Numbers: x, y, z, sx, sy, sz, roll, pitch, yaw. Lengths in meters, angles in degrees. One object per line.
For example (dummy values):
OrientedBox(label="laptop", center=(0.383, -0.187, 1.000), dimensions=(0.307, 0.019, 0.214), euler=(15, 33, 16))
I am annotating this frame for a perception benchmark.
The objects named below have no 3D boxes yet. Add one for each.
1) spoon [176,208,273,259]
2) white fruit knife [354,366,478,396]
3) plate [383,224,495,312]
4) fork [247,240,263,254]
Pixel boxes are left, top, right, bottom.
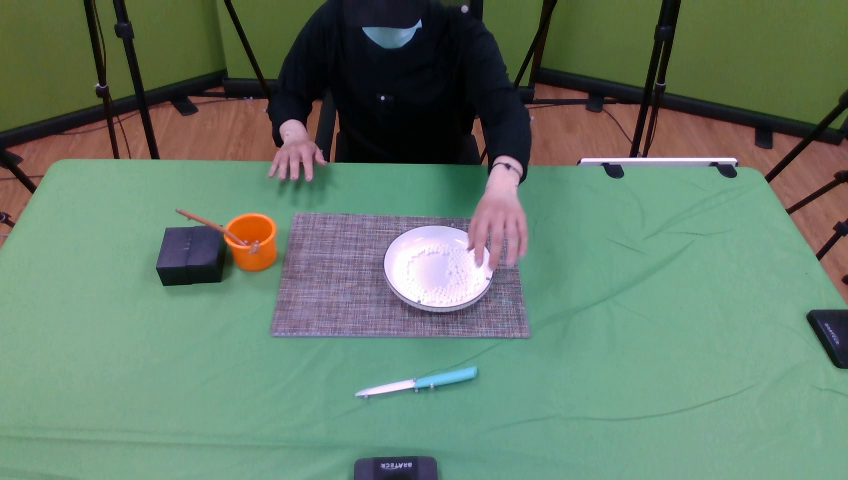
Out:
OrientedBox(label="spoon", center=(-0.355, -0.011, 1.088), dimensions=(0.041, 0.195, 0.021), euler=(22, 77, 54))
OrientedBox(label="white fruit knife", center=(-0.010, 0.231, 0.978), dimensions=(0.208, 0.016, 0.027), euler=(-9, 19, -10))
OrientedBox(label="plate", center=(0.026, 0.055, 1.128), dimensions=(0.209, 0.038, 0.208), euler=(2, 46, -2))
OrientedBox(label="fork", center=(-0.301, 0.011, 1.075), dimensions=(0.028, 0.207, 0.018), euler=(4, 90, -15))
